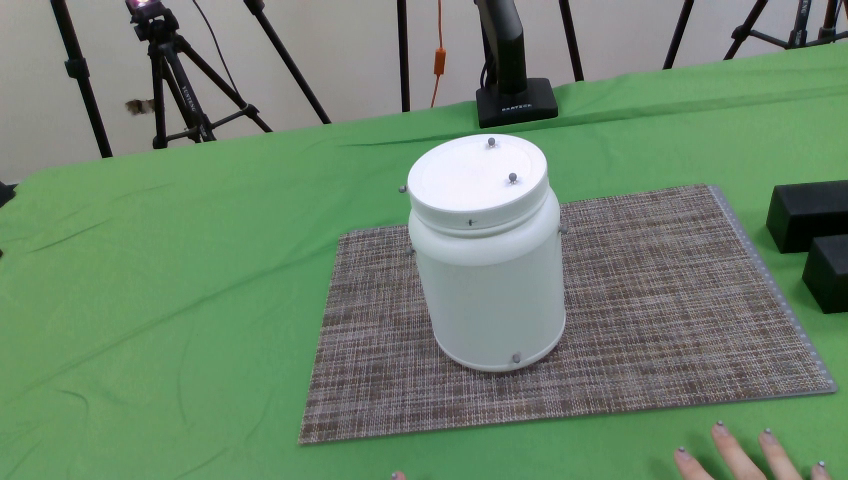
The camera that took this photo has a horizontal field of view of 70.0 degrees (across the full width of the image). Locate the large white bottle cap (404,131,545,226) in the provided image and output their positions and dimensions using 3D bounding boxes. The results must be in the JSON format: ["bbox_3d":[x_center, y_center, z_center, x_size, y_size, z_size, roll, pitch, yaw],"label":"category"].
[{"bbox_3d":[0.040,-0.053,0.492,0.115,0.018,0.113,-8,38,7],"label":"large white bottle cap"}]

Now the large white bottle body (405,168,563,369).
[{"bbox_3d":[0.056,0.012,0.547,0.130,0.186,0.129,-8,39,7],"label":"large white bottle body"}]
